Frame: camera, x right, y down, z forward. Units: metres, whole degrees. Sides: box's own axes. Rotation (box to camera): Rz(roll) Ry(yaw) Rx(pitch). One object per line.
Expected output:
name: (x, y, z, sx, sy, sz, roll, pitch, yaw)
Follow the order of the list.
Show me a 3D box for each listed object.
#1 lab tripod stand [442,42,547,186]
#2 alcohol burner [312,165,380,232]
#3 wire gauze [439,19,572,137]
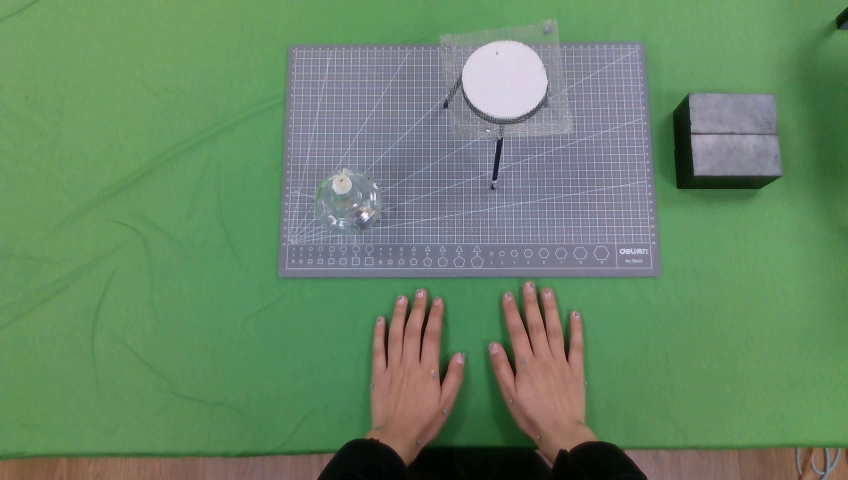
lab tripod stand: (0.085, -0.152, 0.681, 0.148, 0.132, 0.147, 0, 77, 1)
alcohol burner: (-0.088, -0.051, 0.674, 0.078, 0.119, 0.077, 0, 77, 0)
wire gauze: (0.082, -0.164, 0.615, 0.125, 0.011, 0.121, -5, 79, -1)
